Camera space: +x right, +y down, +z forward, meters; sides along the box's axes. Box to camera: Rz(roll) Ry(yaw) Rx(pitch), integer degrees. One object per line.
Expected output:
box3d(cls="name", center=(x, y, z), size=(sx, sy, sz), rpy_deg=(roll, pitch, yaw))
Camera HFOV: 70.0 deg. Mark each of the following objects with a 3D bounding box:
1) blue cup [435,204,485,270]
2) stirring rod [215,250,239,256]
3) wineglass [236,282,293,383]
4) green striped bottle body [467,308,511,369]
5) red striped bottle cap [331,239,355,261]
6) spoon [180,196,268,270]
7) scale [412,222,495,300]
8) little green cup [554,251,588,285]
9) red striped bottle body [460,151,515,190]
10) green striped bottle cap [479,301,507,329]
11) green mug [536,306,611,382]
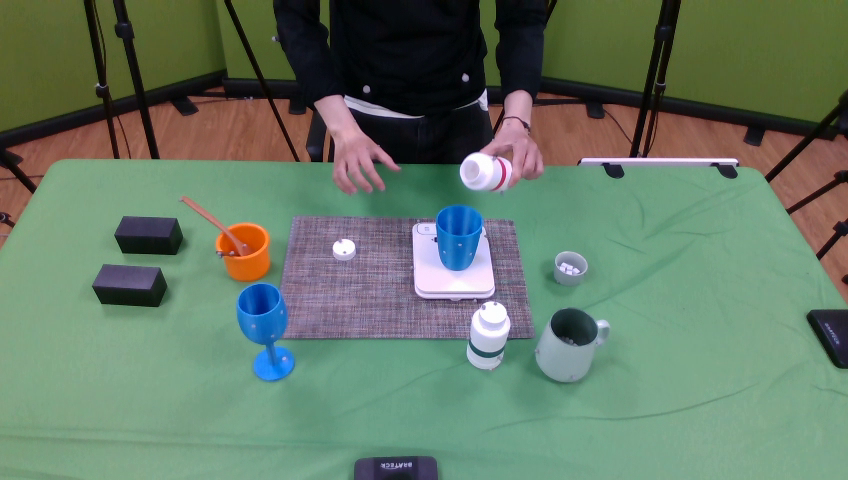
box3d(cls="blue cup", center=(0.061, 0.001, 1.097), size=(0.092, 0.101, 0.092), rpy_deg=(1, 44, 0))
box3d(cls="stirring rod", center=(-0.339, 0.024, 1.059), size=(0.014, 0.176, 0.006), rpy_deg=(17, 86, -6))
box3d(cls="wineglass", center=(-0.243, 0.143, 0.934), size=(0.074, 0.173, 0.073), rpy_deg=(2, 46, -2))
box3d(cls="green striped bottle body", center=(0.106, 0.154, 0.988), size=(0.063, 0.120, 0.063), rpy_deg=(2, 46, -2))
box3d(cls="red striped bottle cap", center=(-0.156, 0.018, 1.166), size=(0.044, 0.018, 0.044), rpy_deg=(3, 46, -3))
box3d(cls="spoon", center=(-0.360, -0.014, 1.094), size=(0.021, 0.194, 0.041), rpy_deg=(-28, 26, 31))
box3d(cls="scale", center=(0.052, 0.031, 1.158), size=(0.149, 0.032, 0.199), rpy_deg=(1, 46, -4))
box3d(cls="little green cup", center=(0.277, 0.055, 1.151), size=(0.061, 0.039, 0.061), rpy_deg=(1, 46, -1))
box3d(cls="red striped bottle body", center=(0.105, -0.119, 1.041), size=(0.063, 0.063, 0.120), rpy_deg=(33, 17, 25))
box3d(cls="green striped bottle cap", center=(0.109, 0.118, 0.950), size=(0.044, 0.020, 0.044), rpy_deg=(2, 47, -2))
box3d(cls="green mug", center=(0.250, 0.167, 0.996), size=(0.125, 0.105, 0.092), rpy_deg=(-15, 49, -19))
